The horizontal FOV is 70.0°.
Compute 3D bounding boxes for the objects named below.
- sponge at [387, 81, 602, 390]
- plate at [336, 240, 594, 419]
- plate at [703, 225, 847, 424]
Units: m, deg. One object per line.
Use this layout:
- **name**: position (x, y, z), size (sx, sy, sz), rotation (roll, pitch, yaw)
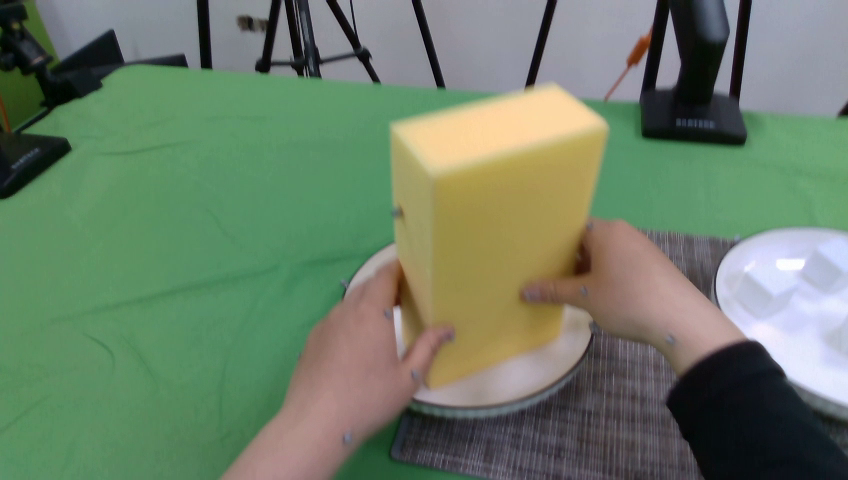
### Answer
- **sponge**: position (0.042, 0.005, 0.429), size (0.118, 0.208, 0.060), rotation (-18, 45, -19)
- **plate**: position (0.033, 0.064, 0.504), size (0.209, 0.038, 0.207), rotation (-1, 40, 2)
- **plate**: position (0.331, 0.067, 0.483), size (0.207, 0.039, 0.205), rotation (-2, 40, 2)
